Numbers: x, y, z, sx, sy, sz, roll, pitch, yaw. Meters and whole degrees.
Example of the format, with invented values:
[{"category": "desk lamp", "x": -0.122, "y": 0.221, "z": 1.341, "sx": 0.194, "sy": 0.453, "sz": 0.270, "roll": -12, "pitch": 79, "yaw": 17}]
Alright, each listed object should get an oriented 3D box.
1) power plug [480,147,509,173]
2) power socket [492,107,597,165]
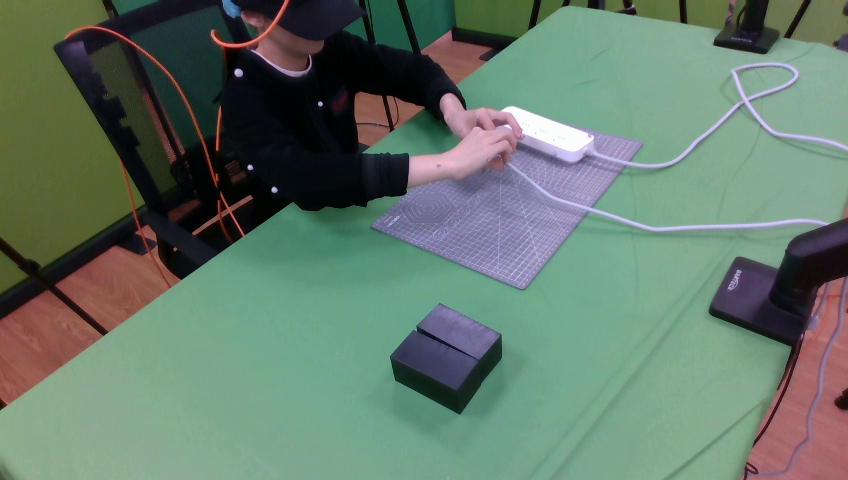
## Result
[{"category": "power plug", "x": 0.117, "y": -0.130, "z": 1.044, "sx": 0.035, "sy": 0.053, "sz": 0.072, "roll": 4, "pitch": 38, "yaw": -11}, {"category": "power socket", "x": 0.227, "y": -0.204, "z": 1.169, "sx": 0.072, "sy": 0.033, "sz": 0.225, "roll": -36, "pitch": 48, "yaw": -28}]
